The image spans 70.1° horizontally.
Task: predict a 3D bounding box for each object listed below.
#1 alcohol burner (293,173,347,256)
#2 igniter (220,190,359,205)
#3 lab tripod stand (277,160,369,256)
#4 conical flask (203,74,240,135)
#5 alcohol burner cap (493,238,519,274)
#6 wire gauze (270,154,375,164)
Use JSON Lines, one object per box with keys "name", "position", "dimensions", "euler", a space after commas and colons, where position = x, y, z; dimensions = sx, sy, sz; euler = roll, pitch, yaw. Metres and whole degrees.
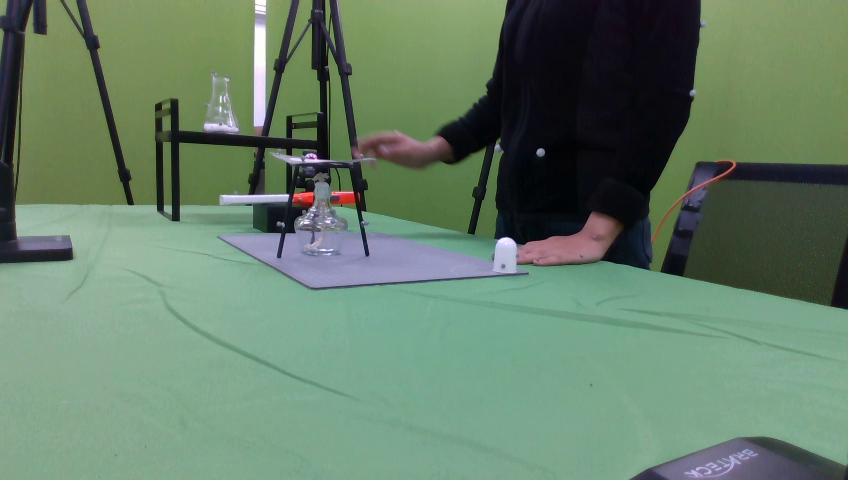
{"name": "alcohol burner", "position": [-0.148, -0.037, 0.868], "dimensions": [0.078, 0.119, 0.078], "euler": [4, 9, 0]}
{"name": "igniter", "position": [-0.246, -0.081, 1.158], "dimensions": [0.278, 0.025, 0.057], "euler": [-5, 7, -33]}
{"name": "lab tripod stand", "position": [-0.149, -0.046, 0.861], "dimensions": [0.148, 0.131, 0.148], "euler": [3, 9, 0]}
{"name": "conical flask", "position": [-0.425, -0.284, 1.271], "dimensions": [0.075, 0.122, 0.075], "euler": [3, 7, 0]}
{"name": "alcohol burner cap", "position": [0.107, 0.021, 0.785], "dimensions": [0.034, 0.048, 0.034], "euler": [0, 8, 0]}
{"name": "wire gauze", "position": [-0.146, -0.114, 0.860], "dimensions": [0.122, 0.011, 0.124], "euler": [-2, 9, -29]}
